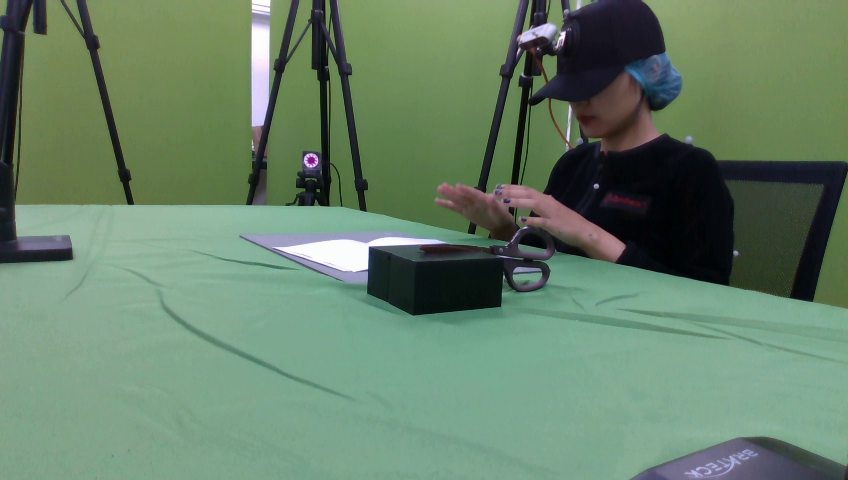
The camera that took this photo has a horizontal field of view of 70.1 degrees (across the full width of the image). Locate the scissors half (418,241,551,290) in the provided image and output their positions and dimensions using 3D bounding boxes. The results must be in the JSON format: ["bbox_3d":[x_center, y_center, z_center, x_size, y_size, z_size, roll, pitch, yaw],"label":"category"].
[{"bbox_3d":[0.067,0.024,0.645,0.176,0.040,0.012,17,7,-31],"label":"scissors half"}]

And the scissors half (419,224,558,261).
[{"bbox_3d":[0.072,0.004,0.642,0.176,0.040,0.013,-3,12,-29],"label":"scissors half"}]
